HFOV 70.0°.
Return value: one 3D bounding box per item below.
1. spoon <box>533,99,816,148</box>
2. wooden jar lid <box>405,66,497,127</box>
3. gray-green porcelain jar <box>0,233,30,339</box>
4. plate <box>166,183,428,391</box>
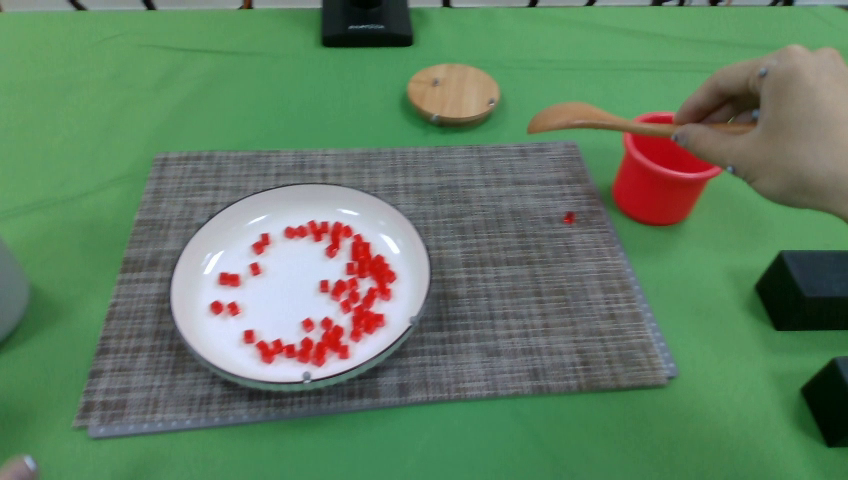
[{"bbox_3d":[0.158,-0.078,0.417,0.192,0.022,0.041,11,73,37],"label":"spoon"},{"bbox_3d":[0.032,-0.169,0.714,0.108,0.021,0.107,3,49,-3],"label":"wooden jar lid"},{"bbox_3d":[-0.366,0.021,0.444,0.106,0.127,0.105,2,48,-2],"label":"gray-green porcelain jar"},{"bbox_3d":[-0.102,0.036,0.505,0.208,0.039,0.205,2,48,-2],"label":"plate"}]
